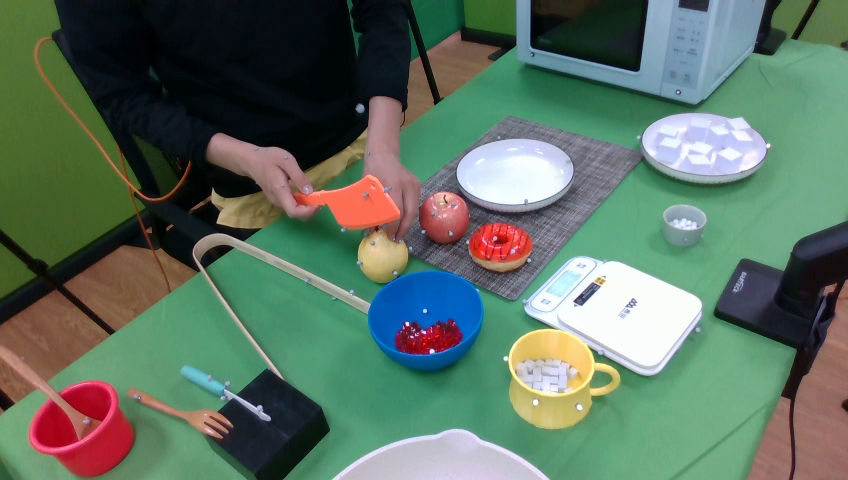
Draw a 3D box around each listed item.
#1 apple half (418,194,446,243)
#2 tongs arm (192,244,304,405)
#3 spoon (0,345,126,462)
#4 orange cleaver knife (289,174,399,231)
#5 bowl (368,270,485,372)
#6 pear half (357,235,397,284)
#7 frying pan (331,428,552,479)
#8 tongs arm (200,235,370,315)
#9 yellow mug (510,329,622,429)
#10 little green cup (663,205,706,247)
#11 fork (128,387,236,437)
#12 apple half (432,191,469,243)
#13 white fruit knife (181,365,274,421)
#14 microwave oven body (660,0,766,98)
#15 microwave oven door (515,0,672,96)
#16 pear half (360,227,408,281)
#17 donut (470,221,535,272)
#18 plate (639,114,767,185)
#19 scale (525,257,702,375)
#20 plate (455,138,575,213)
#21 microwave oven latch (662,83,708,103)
[{"bbox_3d":[0.009,-0.029,0.960,0.033,0.081,0.080,-14,41,-11],"label":"apple half"},{"bbox_3d":[-0.268,0.111,0.884,0.028,0.028,0.384,-36,47,-17],"label":"tongs arm"},{"bbox_3d":[-0.434,0.192,0.720,0.194,0.021,0.042,47,53,-7],"label":"spoon"},{"bbox_3d":[-0.116,-0.047,0.845,0.209,0.077,0.012,-3,28,43],"label":"orange cleaver knife"},{"bbox_3d":[0.007,0.118,0.791,0.151,0.077,0.150,-5,40,4],"label":"bowl"},{"bbox_3d":[-0.075,0.034,0.894,0.070,0.088,0.031,16,44,20],"label":"pear half"},{"bbox_3d":[-0.089,0.306,0.564,0.487,0.103,0.306,10,41,7],"label":"frying pan"},{"bbox_3d":[-0.209,0.062,0.924,0.381,0.027,0.051,23,54,32],"label":"tongs arm"},{"bbox_3d":[0.168,0.164,0.721,0.130,0.064,0.099,0,40,8],"label":"yellow mug"},{"bbox_3d":[0.396,-0.020,0.926,0.061,0.039,0.061,-4,40,4],"label":"little green cup"},{"bbox_3d":[-0.305,0.207,0.744,0.206,0.019,0.028,3,41,36],"label":"fork"},{"bbox_3d":[0.045,-0.038,0.967,0.053,0.075,0.080,-14,38,-11],"label":"apple half"},{"bbox_3d":[-0.245,0.187,0.747,0.205,0.027,0.016,9,41,41],"label":"white fruit knife"},{"bbox_3d":[0.472,-0.513,1.317,0.438,0.261,0.327,26,51,34],"label":"microwave oven body"},{"bbox_3d":[0.343,-0.454,1.259,0.353,0.245,0.039,26,51,33],"label":"microwave oven door"},{"bbox_3d":[-0.059,0.006,0.910,0.076,0.110,0.056,17,47,19],"label":"pear half"},{"bbox_3d":[0.119,0.009,0.923,0.099,0.048,0.098,-4,39,3],"label":"donut"},{"bbox_3d":[0.489,-0.157,1.074,0.207,0.039,0.206,-4,40,4],"label":"plate"},{"bbox_3d":[0.254,0.091,0.821,0.199,0.032,0.149,27,51,35],"label":"scale"},{"bbox_3d":[0.159,-0.111,1.063,0.209,0.038,0.208,-4,40,4],"label":"plate"},{"bbox_3d":[0.518,-0.296,1.204,0.078,0.029,0.030,28,52,35],"label":"microwave oven latch"}]
